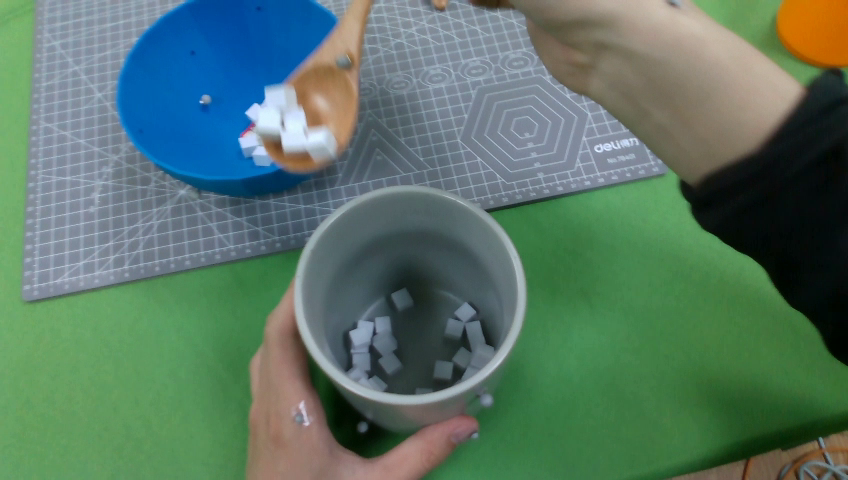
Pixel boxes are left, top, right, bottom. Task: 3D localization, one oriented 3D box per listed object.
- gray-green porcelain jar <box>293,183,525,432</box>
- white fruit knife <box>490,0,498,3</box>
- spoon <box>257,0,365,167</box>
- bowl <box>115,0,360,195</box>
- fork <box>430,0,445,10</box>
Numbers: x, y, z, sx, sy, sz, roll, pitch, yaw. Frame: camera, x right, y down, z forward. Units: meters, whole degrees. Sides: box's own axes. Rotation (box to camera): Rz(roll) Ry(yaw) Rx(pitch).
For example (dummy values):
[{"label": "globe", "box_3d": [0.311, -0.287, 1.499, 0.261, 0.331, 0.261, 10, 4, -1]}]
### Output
[{"label": "gray-green porcelain jar", "box_3d": [-0.005, 0.045, 0.327, 0.106, 0.127, 0.105, 0, 66, 1]}, {"label": "white fruit knife", "box_3d": [0.035, -0.296, 0.499, 0.016, 0.027, 0.206, -12, 80, -6]}, {"label": "spoon", "box_3d": [-0.024, -0.122, 0.277, 0.041, 0.021, 0.194, 28, 100, 6]}, {"label": "bowl", "box_3d": [-0.114, -0.086, 0.409, 0.151, 0.077, 0.150, 0, 66, 1]}, {"label": "fork", "box_3d": [-0.013, -0.287, 0.494, 0.028, 0.018, 0.207, -14, 85, -11]}]
